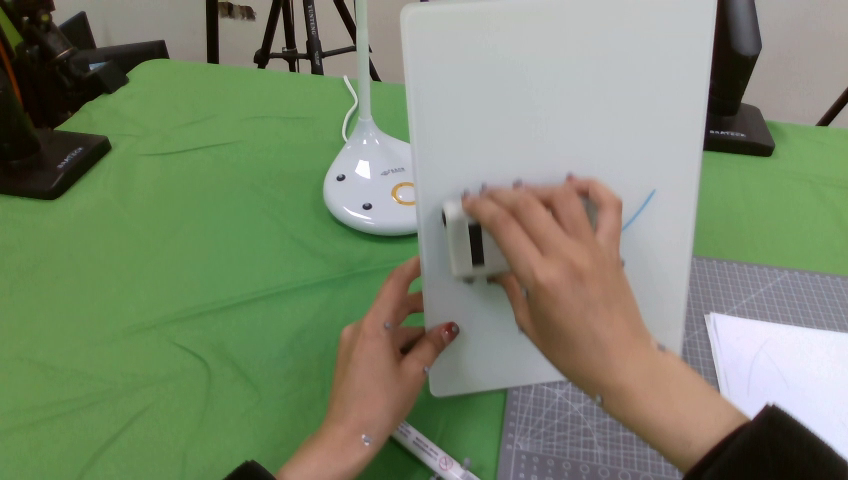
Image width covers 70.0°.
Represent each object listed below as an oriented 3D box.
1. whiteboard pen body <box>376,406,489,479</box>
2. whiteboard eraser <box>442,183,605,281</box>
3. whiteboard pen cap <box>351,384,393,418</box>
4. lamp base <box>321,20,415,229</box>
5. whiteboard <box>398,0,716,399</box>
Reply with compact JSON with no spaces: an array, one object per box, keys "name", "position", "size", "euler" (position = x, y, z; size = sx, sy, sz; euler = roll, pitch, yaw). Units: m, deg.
[{"name":"whiteboard pen body","position":[0.003,0.155,0.453],"size":[0.139,0.017,0.017],"euler":[29,48,29]},{"name":"whiteboard eraser","position":[0.071,-0.006,0.435],"size":[0.113,0.056,0.041],"euler":[-8,21,-2]},{"name":"whiteboard pen cap","position":[-0.041,0.129,0.482],"size":[0.033,0.018,0.018],"euler":[28,48,31]},{"name":"lamp base","position":[-0.044,-0.130,0.652],"size":[0.161,0.182,0.177],"euler":[-26,46,-27]},{"name":"whiteboard","position":[0.094,-0.048,0.512],"size":[0.217,0.307,0.142],"euler":[-6,22,-5]}]
